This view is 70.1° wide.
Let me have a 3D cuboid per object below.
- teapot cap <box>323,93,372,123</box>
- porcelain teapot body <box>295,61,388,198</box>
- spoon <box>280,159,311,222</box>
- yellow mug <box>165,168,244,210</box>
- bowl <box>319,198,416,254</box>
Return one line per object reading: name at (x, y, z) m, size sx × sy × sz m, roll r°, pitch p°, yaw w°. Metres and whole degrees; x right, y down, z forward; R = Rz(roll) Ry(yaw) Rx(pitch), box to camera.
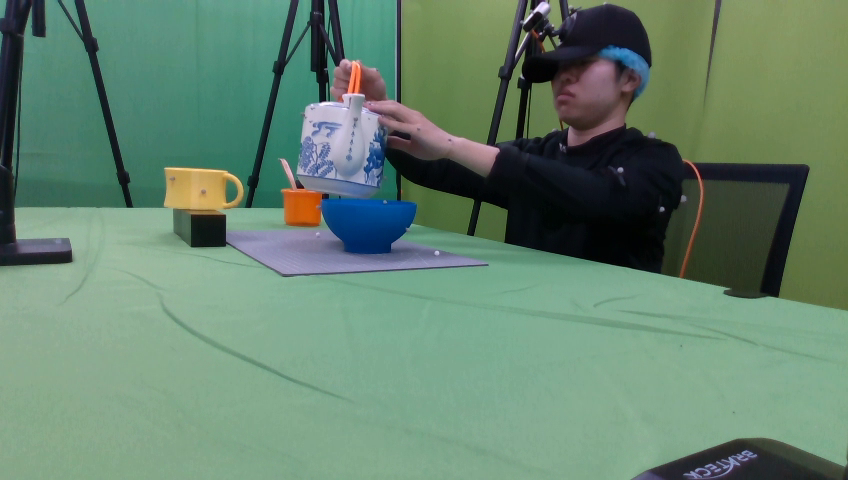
teapot cap at (-0.130, -0.228, 1.037) m, size 0.085 × 0.044 × 0.085 m, roll 11°, pitch 3°, yaw 0°
porcelain teapot body at (-0.128, -0.187, 1.012) m, size 0.146 × 0.225 × 0.204 m, roll 8°, pitch 3°, yaw -18°
spoon at (-0.284, -0.111, 1.320) m, size 0.042 × 0.193 × 0.021 m, roll -3°, pitch -35°, yaw -31°
yellow mug at (-0.370, -0.086, 1.027) m, size 0.131 × 0.064 × 0.100 m, roll 5°, pitch 7°, yaw 4°
bowl at (-0.088, -0.022, 0.941) m, size 0.151 × 0.077 × 0.151 m, roll 2°, pitch 7°, yaw 0°
